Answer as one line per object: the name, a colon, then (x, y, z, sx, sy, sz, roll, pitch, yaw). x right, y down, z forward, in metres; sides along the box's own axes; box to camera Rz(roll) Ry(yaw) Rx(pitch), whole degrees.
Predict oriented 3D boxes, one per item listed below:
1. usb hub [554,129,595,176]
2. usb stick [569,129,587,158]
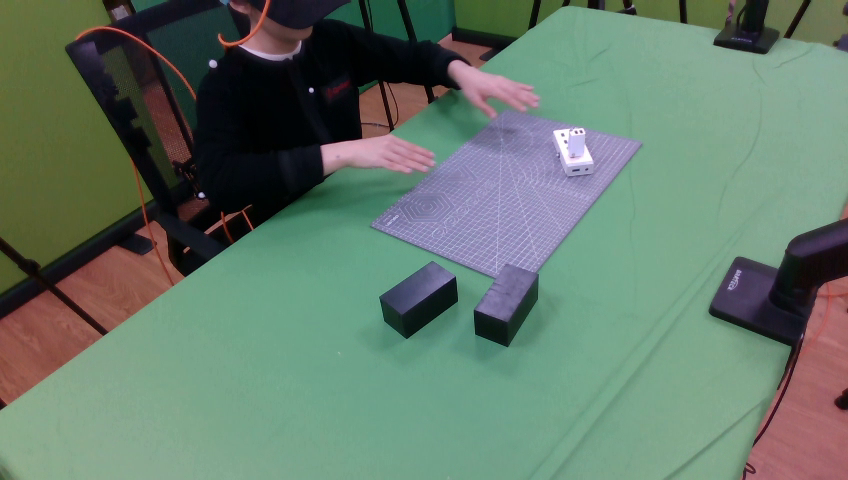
usb hub: (0.278, -0.163, 1.119, 0.049, 0.025, 0.124, -6, 41, 2)
usb stick: (0.273, -0.166, 1.075, 0.027, 0.059, 0.021, -5, 40, -1)
